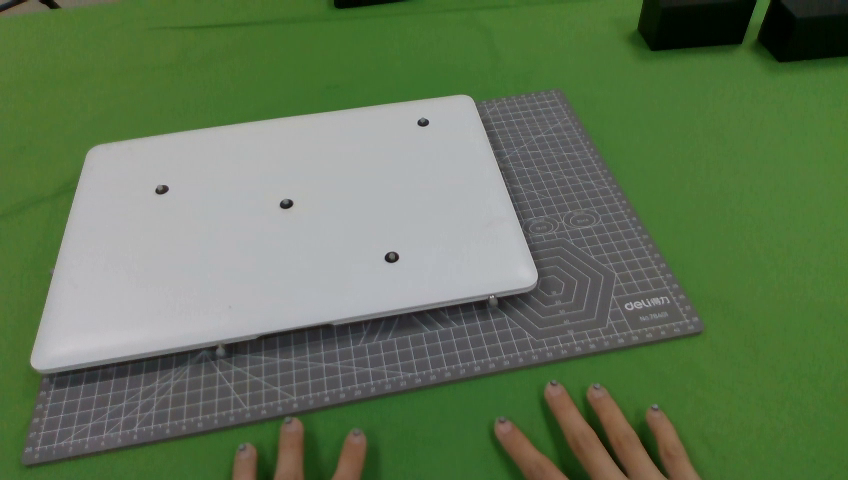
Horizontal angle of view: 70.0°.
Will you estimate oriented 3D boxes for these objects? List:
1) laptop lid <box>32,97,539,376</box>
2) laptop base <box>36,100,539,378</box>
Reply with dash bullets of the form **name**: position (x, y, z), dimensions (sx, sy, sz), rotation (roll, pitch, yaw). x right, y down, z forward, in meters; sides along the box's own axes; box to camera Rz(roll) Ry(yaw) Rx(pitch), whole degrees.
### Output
- **laptop lid**: position (-0.108, -0.023, 0.486), dimensions (0.357, 0.013, 0.239), rotation (-8, 50, -4)
- **laptop base**: position (-0.108, -0.017, 0.496), dimensions (0.355, 0.023, 0.233), rotation (-9, 51, -5)
